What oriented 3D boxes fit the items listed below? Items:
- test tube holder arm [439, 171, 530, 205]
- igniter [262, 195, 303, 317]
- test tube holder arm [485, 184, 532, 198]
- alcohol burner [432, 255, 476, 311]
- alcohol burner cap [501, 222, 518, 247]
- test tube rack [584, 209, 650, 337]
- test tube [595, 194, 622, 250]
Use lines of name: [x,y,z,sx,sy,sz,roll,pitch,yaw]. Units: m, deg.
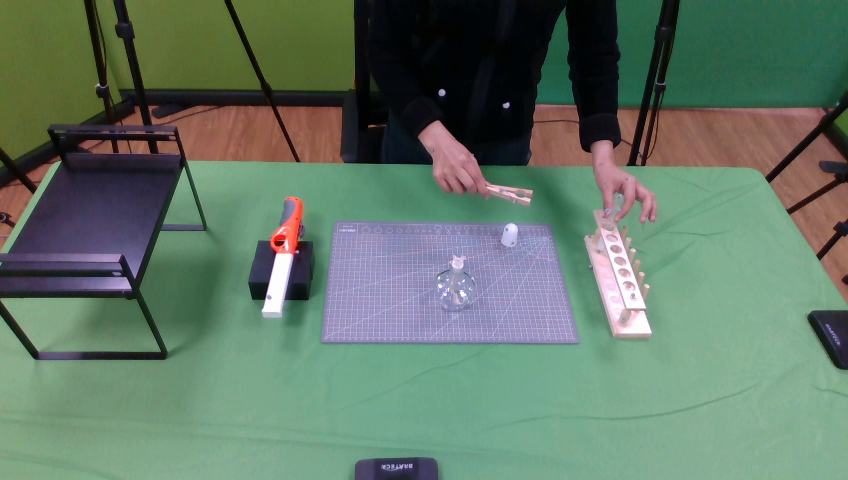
test tube holder arm: [0.112,-0.098,1.133,0.178,0.015,0.013,17,53,12]
igniter: [-0.253,0.020,1.090,0.057,0.025,0.275,0,49,-1]
test tube holder arm: [0.156,-0.092,1.129,0.088,0.015,0.010,8,53,5]
alcohol burner: [0.055,0.070,1.068,0.078,0.119,0.077,3,45,-3]
alcohol burner cap: [0.172,-0.013,1.206,0.034,0.048,0.033,1,46,-1]
test tube rack: [0.365,0.056,1.129,0.067,0.085,0.240,1,46,-3]
test tube: [0.346,-0.030,1.141,0.017,0.151,0.017,0,51,0]
